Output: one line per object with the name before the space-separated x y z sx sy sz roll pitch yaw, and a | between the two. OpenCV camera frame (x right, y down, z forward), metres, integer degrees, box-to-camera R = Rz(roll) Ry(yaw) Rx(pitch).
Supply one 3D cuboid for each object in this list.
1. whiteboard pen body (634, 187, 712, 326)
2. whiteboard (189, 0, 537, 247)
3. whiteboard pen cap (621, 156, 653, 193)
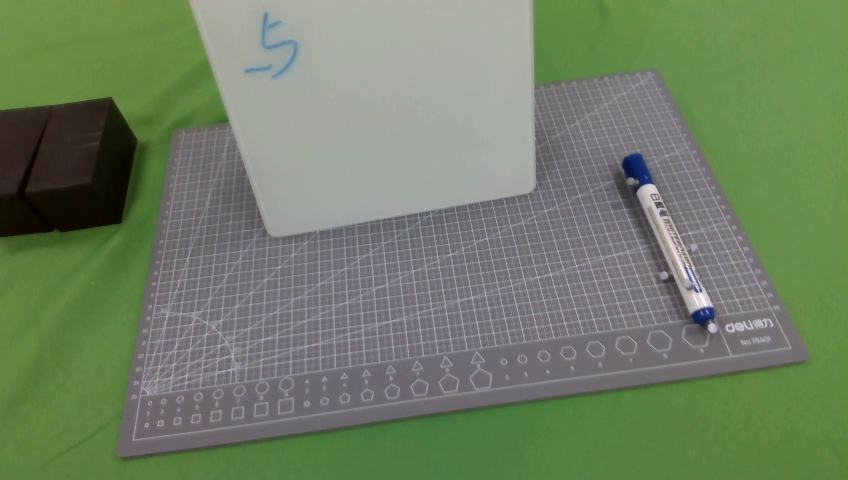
whiteboard pen body | 0.177 -0.001 0.444 0.017 0.017 0.139 -9 56 -3
whiteboard | -0.041 -0.175 0.448 0.217 0.308 0.142 -9 34 -2
whiteboard pen cap | 0.168 -0.049 0.477 0.018 0.018 0.033 -8 57 -2
